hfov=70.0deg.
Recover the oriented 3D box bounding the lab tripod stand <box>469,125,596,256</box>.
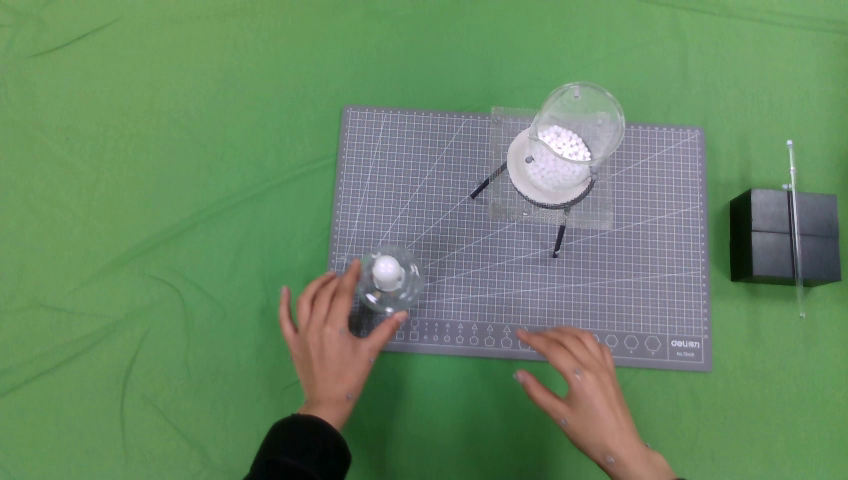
[{"bbox_3d":[0.128,-0.064,0.667,0.148,0.132,0.147,0,76,0],"label":"lab tripod stand"}]

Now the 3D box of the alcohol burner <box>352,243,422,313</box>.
[{"bbox_3d":[-0.040,0.039,0.653,0.078,0.119,0.077,0,80,-2],"label":"alcohol burner"}]

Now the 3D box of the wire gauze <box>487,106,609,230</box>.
[{"bbox_3d":[0.124,-0.074,0.602,0.125,0.011,0.121,5,79,-3],"label":"wire gauze"}]

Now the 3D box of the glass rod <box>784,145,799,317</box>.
[{"bbox_3d":[0.413,-0.013,0.680,0.008,0.008,0.199,4,79,0],"label":"glass rod"}]

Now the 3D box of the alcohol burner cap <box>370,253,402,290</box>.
[{"bbox_3d":[-0.041,0.031,0.617,0.034,0.048,0.033,-1,74,2],"label":"alcohol burner cap"}]

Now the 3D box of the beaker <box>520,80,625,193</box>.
[{"bbox_3d":[0.127,-0.088,0.556,0.084,0.100,0.073,-12,78,-3],"label":"beaker"}]
